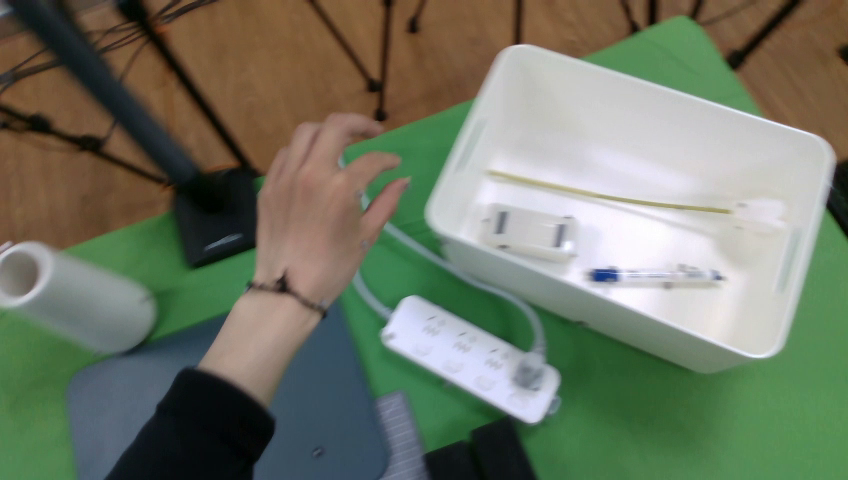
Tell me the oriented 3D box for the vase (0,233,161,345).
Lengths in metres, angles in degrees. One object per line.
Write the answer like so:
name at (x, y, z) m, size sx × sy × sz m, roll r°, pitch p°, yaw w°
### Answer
vase at (-0.395, 0.059, 0.711) m, size 0.098 × 0.201 × 0.097 m, roll -2°, pitch 68°, yaw 5°

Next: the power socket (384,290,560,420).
power socket at (0.057, 0.135, 0.726) m, size 0.225 × 0.033 × 0.072 m, roll 27°, pitch 74°, yaw 15°

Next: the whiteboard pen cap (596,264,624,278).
whiteboard pen cap at (0.229, 0.038, 0.744) m, size 0.033 × 0.018 × 0.018 m, roll -1°, pitch 69°, yaw 7°

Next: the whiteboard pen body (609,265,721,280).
whiteboard pen body at (0.287, 0.040, 0.737) m, size 0.140 × 0.017 × 0.017 m, roll -2°, pitch 69°, yaw 7°

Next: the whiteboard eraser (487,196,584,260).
whiteboard eraser at (0.140, -0.015, 0.759) m, size 0.112 × 0.042 × 0.055 m, roll 14°, pitch 73°, yaw 9°

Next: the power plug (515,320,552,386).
power plug at (0.134, 0.134, 0.693) m, size 0.035 × 0.053 × 0.072 m, roll 37°, pitch 73°, yaw 19°

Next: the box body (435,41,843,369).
box body at (0.227, -0.034, 0.701) m, size 0.362 × 0.161 × 0.253 m, roll 23°, pitch 73°, yaw 14°

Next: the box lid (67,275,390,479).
box lid at (-0.244, 0.212, 0.739) m, size 0.371 × 0.015 × 0.261 m, roll -20°, pitch 69°, yaw -2°

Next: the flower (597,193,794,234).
flower at (0.266, -0.052, 0.774) m, size 0.359 × 0.038 × 0.044 m, roll 10°, pitch 61°, yaw 27°
